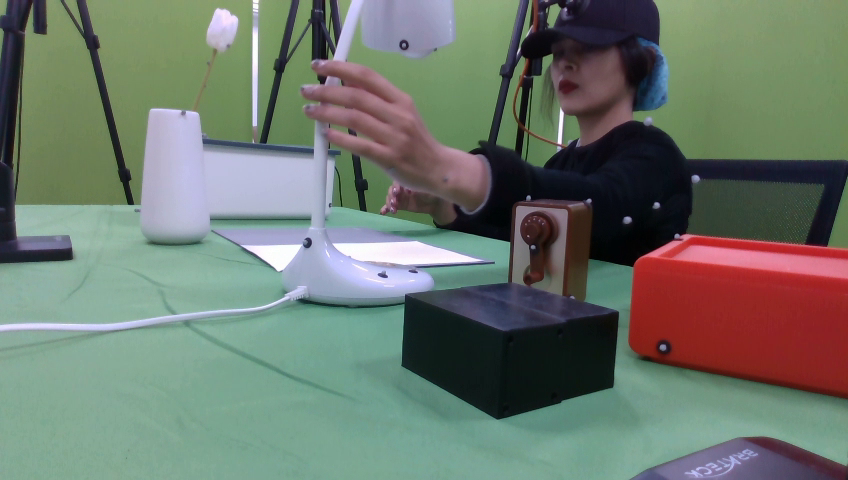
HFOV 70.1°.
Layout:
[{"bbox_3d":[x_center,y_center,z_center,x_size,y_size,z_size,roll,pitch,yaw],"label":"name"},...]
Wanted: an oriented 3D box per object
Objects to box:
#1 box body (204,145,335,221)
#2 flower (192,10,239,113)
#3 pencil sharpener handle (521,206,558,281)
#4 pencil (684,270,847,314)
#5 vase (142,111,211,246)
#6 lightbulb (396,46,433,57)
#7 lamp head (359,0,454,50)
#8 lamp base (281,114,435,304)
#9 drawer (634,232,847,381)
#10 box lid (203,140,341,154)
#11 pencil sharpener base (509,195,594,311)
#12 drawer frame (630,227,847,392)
[{"bbox_3d":[-0.411,-0.135,1.386,0.366,0.160,0.253,-2,9,-29],"label":"box body"},{"bbox_3d":[-0.354,-0.174,0.915,0.038,0.361,0.044,18,-3,12],"label":"flower"},{"bbox_3d":[0.102,0.003,0.555,0.036,0.067,0.031,-1,5,31],"label":"pencil sharpener handle"},{"bbox_3d":[0.307,0.046,0.517,0.194,0.012,0.012,13,5,-11],"label":"pencil"},{"bbox_3d":[-0.378,-0.093,0.920,0.098,0.200,0.098,2,9,0],"label":"vase"},{"bbox_3d":[-0.018,-0.265,0.692,0.059,0.108,0.059,-10,27,6],"label":"lightbulb"},{"bbox_3d":[-0.024,-0.283,0.674,0.112,0.123,0.112,-3,38,3],"label":"lamp head"},{"bbox_3d":[-0.071,-0.034,0.614,0.160,0.180,0.180,6,10,27],"label":"lamp base"},{"bbox_3d":[0.291,0.045,0.488,0.193,0.073,0.213,7,10,30],"label":"drawer"},{"bbox_3d":[-0.396,-0.212,1.373,0.373,0.015,0.262,-1,9,-29],"label":"box lid"},{"bbox_3d":[0.126,0.011,0.601,0.061,0.107,0.077,7,9,30],"label":"pencil sharpener base"},{"bbox_3d":[0.292,0.043,0.484,0.201,0.082,0.214,7,9,29],"label":"drawer frame"}]
